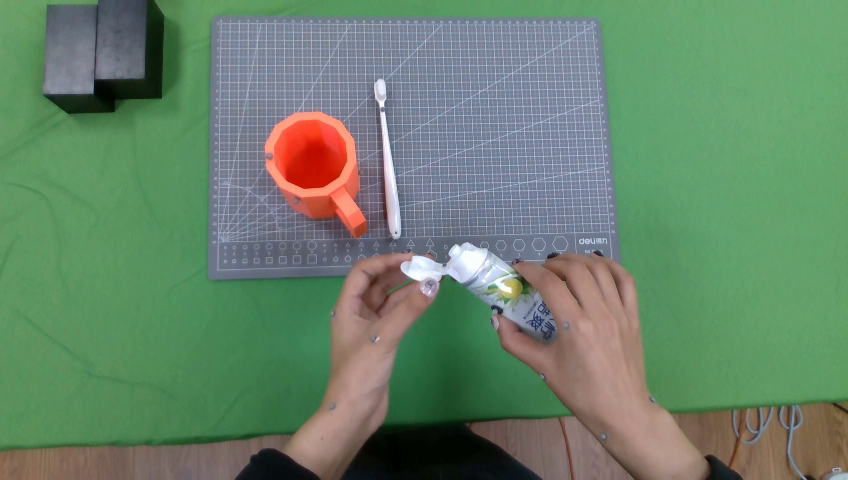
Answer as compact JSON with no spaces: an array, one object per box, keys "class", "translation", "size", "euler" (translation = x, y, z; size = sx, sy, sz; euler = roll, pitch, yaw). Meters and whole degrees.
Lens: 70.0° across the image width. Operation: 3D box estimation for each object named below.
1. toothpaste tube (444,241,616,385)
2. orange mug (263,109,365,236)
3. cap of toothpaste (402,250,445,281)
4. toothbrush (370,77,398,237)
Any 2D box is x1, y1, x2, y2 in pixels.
[{"class":"toothpaste tube","translation":[0.083,0.055,0.496],"size":[0.166,0.034,0.055],"euler":[36,92,-12]},{"class":"orange mug","translation":[-0.103,-0.062,0.618],"size":[0.083,0.101,0.125],"euler":[-36,81,-9]},{"class":"cap of toothpaste","translation":[0.000,0.020,0.487],"size":[0.037,0.037,0.011],"euler":[16,117,-2]},{"class":"toothbrush","translation":[-0.043,-0.094,0.669],"size":[0.014,0.016,0.181],"euler":[-4,83,-20]}]
